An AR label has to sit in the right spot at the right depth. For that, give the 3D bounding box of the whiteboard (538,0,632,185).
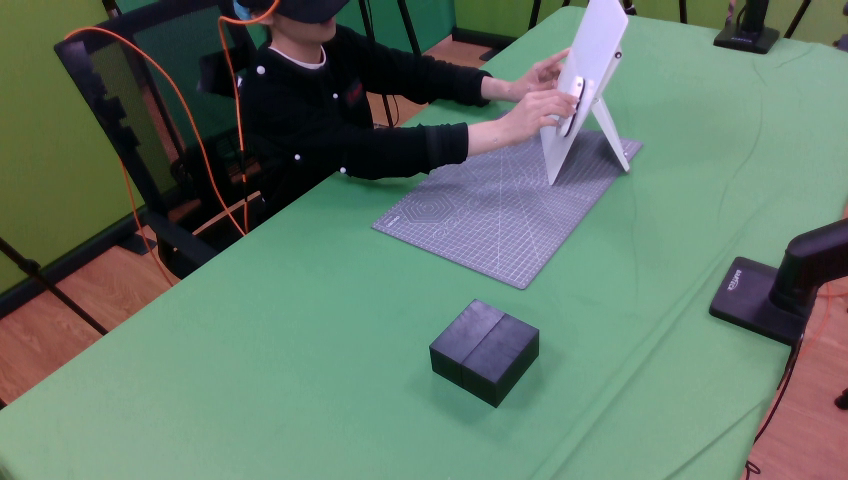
[{"bbox_3d":[0.327,-0.259,1.055,0.144,0.306,0.216,13,40,-6],"label":"whiteboard"}]

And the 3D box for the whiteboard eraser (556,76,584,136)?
[{"bbox_3d":[0.246,-0.225,1.022,0.019,0.101,0.041,9,23,-8],"label":"whiteboard eraser"}]
